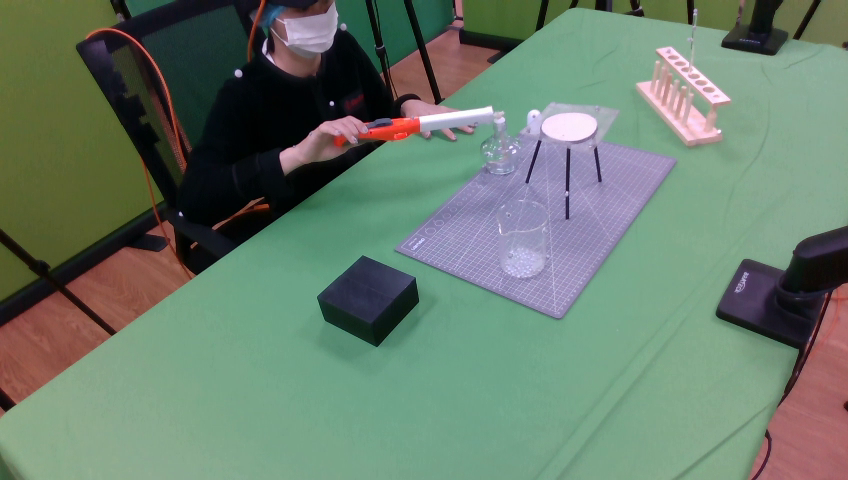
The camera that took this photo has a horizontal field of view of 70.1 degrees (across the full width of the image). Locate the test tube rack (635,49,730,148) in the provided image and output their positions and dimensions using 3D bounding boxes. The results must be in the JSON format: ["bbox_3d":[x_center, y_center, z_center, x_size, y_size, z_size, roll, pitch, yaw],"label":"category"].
[{"bbox_3d":[0.497,-0.283,1.185,0.067,0.085,0.240,-10,40,-2],"label":"test tube rack"}]

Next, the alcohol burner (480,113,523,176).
[{"bbox_3d":[0.139,-0.176,1.089,0.078,0.119,0.077,-5,42,5],"label":"alcohol burner"}]

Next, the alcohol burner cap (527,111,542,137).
[{"bbox_3d":[0.220,-0.233,1.200,0.034,0.048,0.033,-5,41,5],"label":"alcohol burner cap"}]

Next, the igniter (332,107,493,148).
[{"bbox_3d":[-0.020,-0.192,1.029,0.277,0.057,0.025,-10,65,-5],"label":"igniter"}]

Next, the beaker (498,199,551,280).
[{"bbox_3d":[0.144,0.003,0.884,0.073,0.101,0.084,28,52,36],"label":"beaker"}]

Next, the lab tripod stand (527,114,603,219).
[{"bbox_3d":[0.234,-0.129,1.002,0.148,0.132,0.147,-6,40,6],"label":"lab tripod stand"}]

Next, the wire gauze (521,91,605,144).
[{"bbox_3d":[0.219,-0.191,0.948,0.121,0.011,0.125,8,49,13],"label":"wire gauze"}]

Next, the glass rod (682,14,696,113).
[{"bbox_3d":[0.495,-0.326,1.132,0.008,0.201,0.008,-8,42,8],"label":"glass rod"}]
